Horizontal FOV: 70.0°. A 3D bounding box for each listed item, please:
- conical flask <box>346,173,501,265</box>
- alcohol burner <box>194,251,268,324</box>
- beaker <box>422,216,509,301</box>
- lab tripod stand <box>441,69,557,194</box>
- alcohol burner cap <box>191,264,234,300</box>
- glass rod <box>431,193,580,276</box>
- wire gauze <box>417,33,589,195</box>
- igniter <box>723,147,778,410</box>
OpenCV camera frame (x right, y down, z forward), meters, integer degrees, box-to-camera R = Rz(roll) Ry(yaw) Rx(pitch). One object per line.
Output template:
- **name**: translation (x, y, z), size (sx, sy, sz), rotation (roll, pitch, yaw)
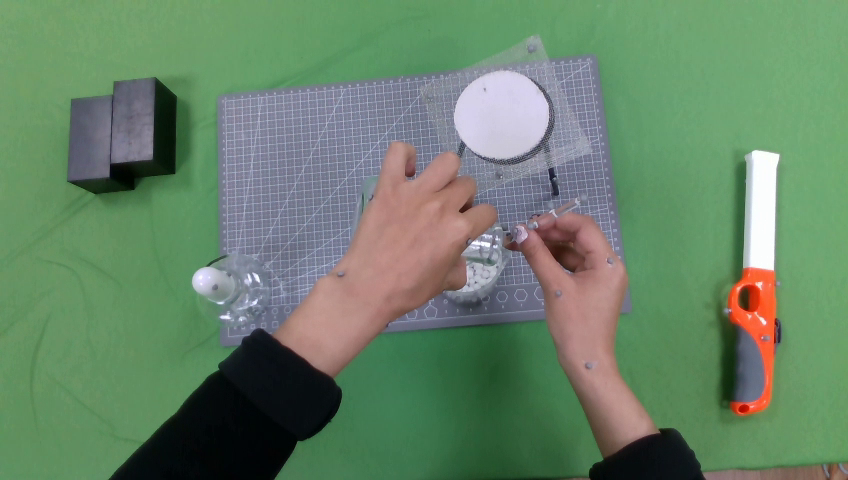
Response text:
- **conical flask**: translation (0.000, -0.008, 0.500), size (0.122, 0.075, 0.075), rotation (10, 79, -11)
- **alcohol burner**: translation (-0.206, 0.047, 0.627), size (0.078, 0.119, 0.077), rotation (0, 80, 3)
- **beaker**: translation (0.043, 0.023, 0.619), size (0.084, 0.100, 0.073), rotation (-7, 79, 3)
- **lab tripod stand**: translation (0.077, -0.101, 0.622), size (0.148, 0.132, 0.148), rotation (-1, 81, 5)
- **alcohol burner cap**: translation (-0.208, 0.039, 0.592), size (0.034, 0.048, 0.033), rotation (0, 77, 0)
- **glass rod**: translation (0.061, 0.000, 0.524), size (0.008, 0.199, 0.008), rotation (13, 64, -29)
- **wire gauze**: translation (0.071, -0.115, 0.557), size (0.125, 0.011, 0.121), rotation (-22, 80, 1)
- **igniter**: translation (0.342, 0.038, 0.631), size (0.057, 0.025, 0.275), rotation (9, 80, -4)
